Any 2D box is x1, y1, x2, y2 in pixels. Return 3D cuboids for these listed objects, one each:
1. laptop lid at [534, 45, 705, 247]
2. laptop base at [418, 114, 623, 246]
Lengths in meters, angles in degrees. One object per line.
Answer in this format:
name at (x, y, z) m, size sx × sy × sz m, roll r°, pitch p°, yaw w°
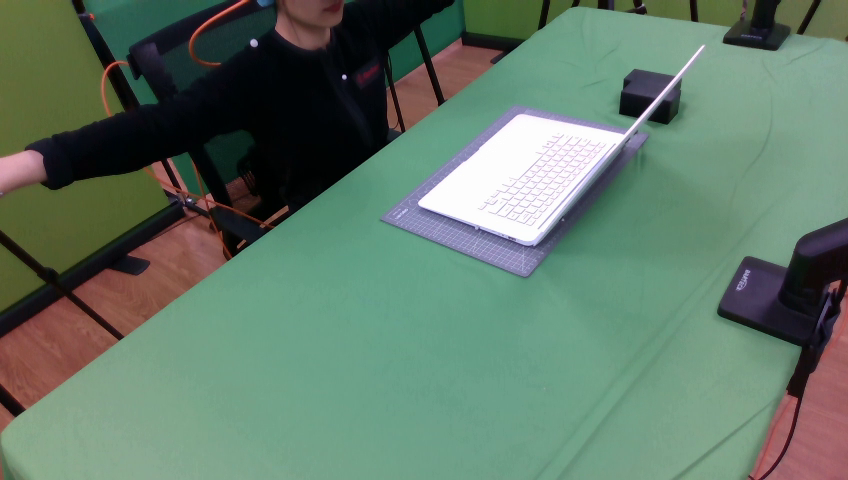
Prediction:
laptop lid at (0.305, -0.146, 0.938) m, size 0.013 × 0.241 × 0.357 m, roll 40°, pitch 54°, yaw 9°
laptop base at (0.183, -0.123, 1.094) m, size 0.233 × 0.023 × 0.355 m, roll 19°, pitch 48°, yaw 34°
